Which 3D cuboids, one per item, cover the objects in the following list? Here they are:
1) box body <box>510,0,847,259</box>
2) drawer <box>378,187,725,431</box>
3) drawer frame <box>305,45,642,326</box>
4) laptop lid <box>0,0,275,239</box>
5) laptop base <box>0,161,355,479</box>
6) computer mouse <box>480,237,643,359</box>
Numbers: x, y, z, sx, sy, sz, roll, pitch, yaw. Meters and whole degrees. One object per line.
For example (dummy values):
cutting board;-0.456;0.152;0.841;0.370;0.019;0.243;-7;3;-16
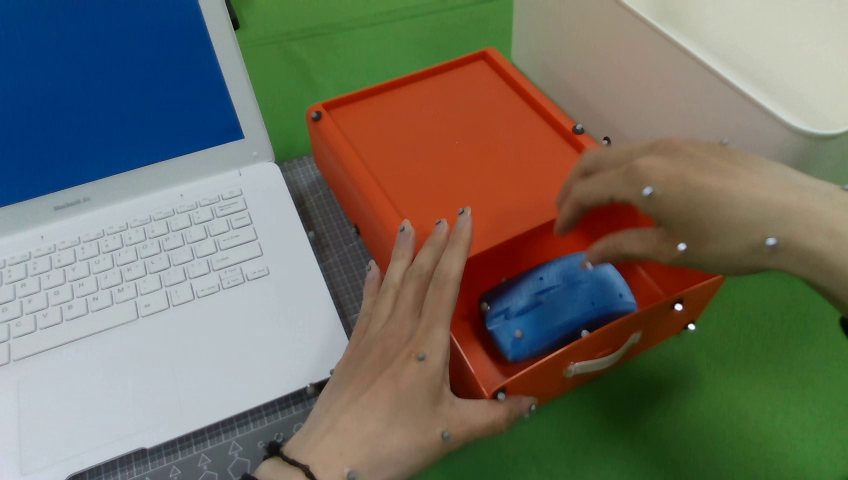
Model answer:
box body;0.272;-0.181;0.567;0.254;0.162;0.360;-23;55;-17
drawer;0.078;0.010;0.472;0.195;0.074;0.209;-23;53;-17
drawer frame;0.033;-0.057;0.522;0.202;0.083;0.211;-25;55;-18
laptop lid;-0.326;-0.120;0.492;0.357;0.243;0.013;-21;24;-13
laptop base;-0.255;0.067;0.472;0.355;0.023;0.233;-19;57;-14
computer mouse;0.102;0.041;0.454;0.117;0.041;0.062;-23;60;-3
